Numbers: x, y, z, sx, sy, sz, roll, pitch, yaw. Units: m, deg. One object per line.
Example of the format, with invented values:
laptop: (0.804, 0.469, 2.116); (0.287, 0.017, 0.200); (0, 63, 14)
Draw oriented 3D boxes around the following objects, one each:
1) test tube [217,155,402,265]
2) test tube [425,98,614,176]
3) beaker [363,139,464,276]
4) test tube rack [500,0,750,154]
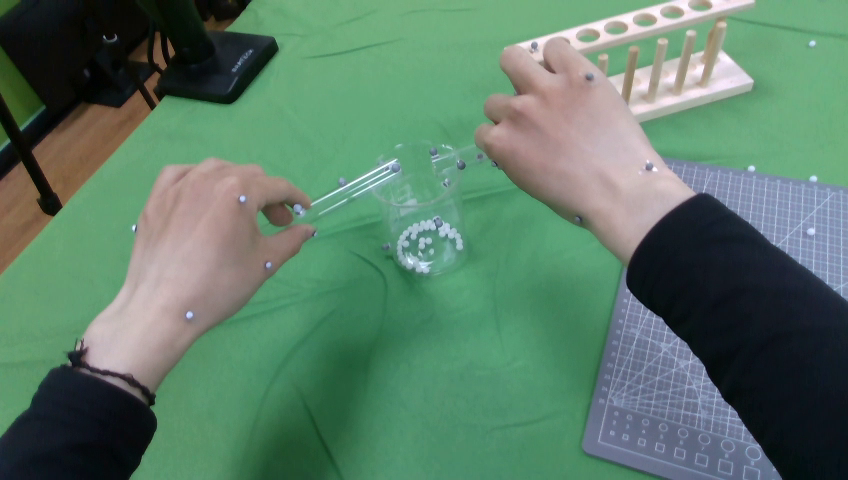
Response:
test tube: (-0.083, -0.022, 0.446); (0.150, 0.017, 0.017); (-29, 53, -8)
test tube: (0.073, -0.079, 0.460); (0.150, 0.017, 0.017); (-19, 51, -2)
beaker: (-0.003, -0.025, 0.512); (0.084, 0.101, 0.073); (-38, 56, -21)
test tube rack: (0.201, -0.170, 0.602); (0.242, 0.086, 0.066); (-17, 52, -4)
